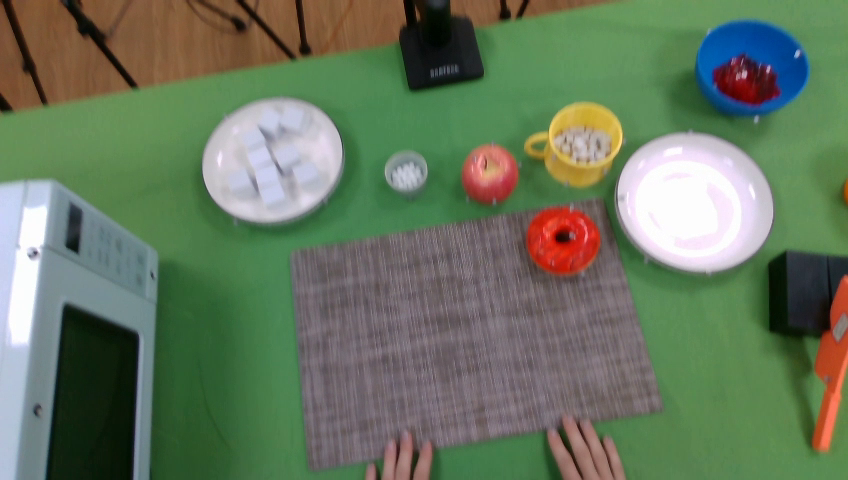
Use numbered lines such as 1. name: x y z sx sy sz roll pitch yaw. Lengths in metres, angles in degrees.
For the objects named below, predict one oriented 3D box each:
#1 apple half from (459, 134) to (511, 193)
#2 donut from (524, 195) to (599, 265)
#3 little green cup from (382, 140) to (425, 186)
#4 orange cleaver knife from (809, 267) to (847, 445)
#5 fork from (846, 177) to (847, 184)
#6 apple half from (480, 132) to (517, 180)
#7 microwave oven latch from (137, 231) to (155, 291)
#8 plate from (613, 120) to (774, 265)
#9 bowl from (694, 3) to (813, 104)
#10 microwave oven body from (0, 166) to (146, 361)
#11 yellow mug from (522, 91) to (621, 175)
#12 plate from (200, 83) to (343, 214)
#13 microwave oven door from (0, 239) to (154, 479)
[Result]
1. apple half: 0.077 -0.098 0.838 0.053 0.075 0.080 -36 76 -4
2. donut: 0.183 -0.014 0.813 0.099 0.048 0.098 -2 72 5
3. little green cup: -0.027 -0.107 0.866 0.061 0.039 0.061 -1 71 4
4. orange cleaver knife: 0.486 0.139 0.723 0.012 0.077 0.212 8 104 8
5. fork: 0.653 -0.100 0.760 0.207 0.019 0.028 -20 61 44
6. apple half: 0.109 -0.120 0.842 0.033 0.082 0.081 -37 72 -4
7. microwave oven latch: -0.385 0.029 0.823 0.030 0.030 0.078 -6 72 1
8. plate: 0.362 -0.063 0.826 0.209 0.038 0.207 -1 71 4
9. bowl: 0.453 -0.250 0.861 0.151 0.077 0.150 -1 72 4
10. microwave oven body: -0.519 0.182 0.679 0.326 0.262 0.438 -7 72 1
11. yellow mug: 0.204 -0.149 0.850 0.131 0.064 0.099 0 71 5
12. plate: -0.219 -0.131 0.886 0.207 0.039 0.206 -1 71 3
13. microwave oven door: -0.370 0.202 0.657 0.039 0.245 0.353 -7 71 2
